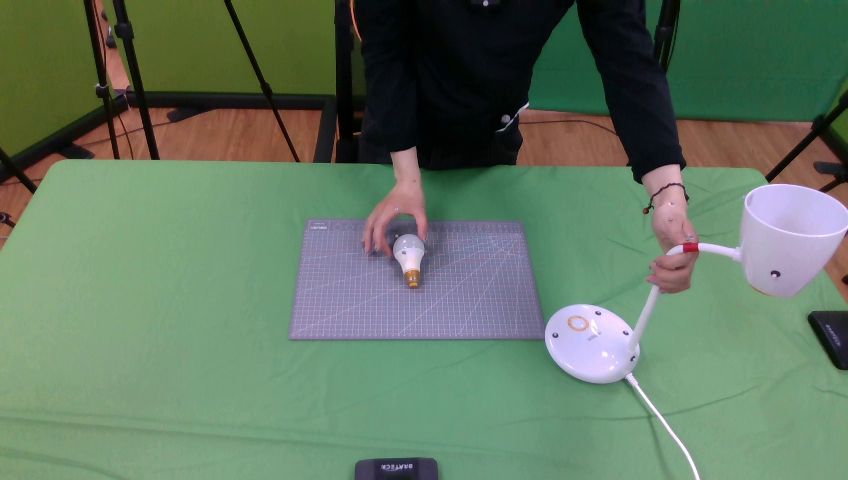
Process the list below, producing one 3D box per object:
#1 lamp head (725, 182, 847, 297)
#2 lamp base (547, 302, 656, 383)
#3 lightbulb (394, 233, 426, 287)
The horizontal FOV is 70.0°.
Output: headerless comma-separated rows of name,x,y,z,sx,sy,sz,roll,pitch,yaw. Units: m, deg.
lamp head,0.428,0.006,0.725,0.112,0.123,0.111,0,39,0
lamp base,0.304,0.127,0.982,0.160,0.181,0.178,-33,59,-29
lightbulb,-0.024,0.037,1.134,0.059,0.060,0.107,-4,63,-7
